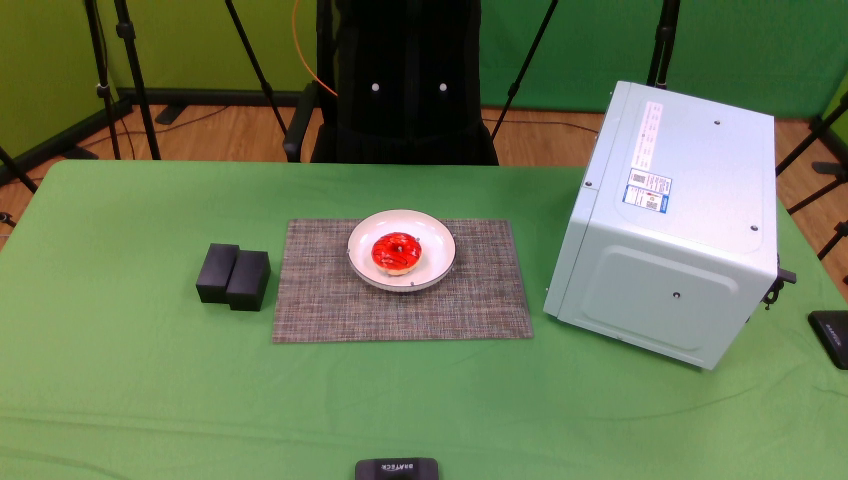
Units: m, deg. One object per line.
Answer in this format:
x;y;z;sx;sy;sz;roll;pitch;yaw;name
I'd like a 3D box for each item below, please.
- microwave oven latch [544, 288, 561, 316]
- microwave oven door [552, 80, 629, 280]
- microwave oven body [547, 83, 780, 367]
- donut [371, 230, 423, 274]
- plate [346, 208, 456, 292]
0.237;0.098;1.087;0.030;0.029;0.079;17;47;14;microwave oven latch
0.324;-0.116;1.156;0.039;0.245;0.354;18;48;13;microwave oven door
0.444;-0.041;1.101;0.325;0.261;0.440;17;47;13;microwave oven body
-0.051;0.022;1.142;0.099;0.048;0.098;0;45;0;donut
-0.044;0.021;1.159;0.209;0.038;0.208;2;47;-2;plate
